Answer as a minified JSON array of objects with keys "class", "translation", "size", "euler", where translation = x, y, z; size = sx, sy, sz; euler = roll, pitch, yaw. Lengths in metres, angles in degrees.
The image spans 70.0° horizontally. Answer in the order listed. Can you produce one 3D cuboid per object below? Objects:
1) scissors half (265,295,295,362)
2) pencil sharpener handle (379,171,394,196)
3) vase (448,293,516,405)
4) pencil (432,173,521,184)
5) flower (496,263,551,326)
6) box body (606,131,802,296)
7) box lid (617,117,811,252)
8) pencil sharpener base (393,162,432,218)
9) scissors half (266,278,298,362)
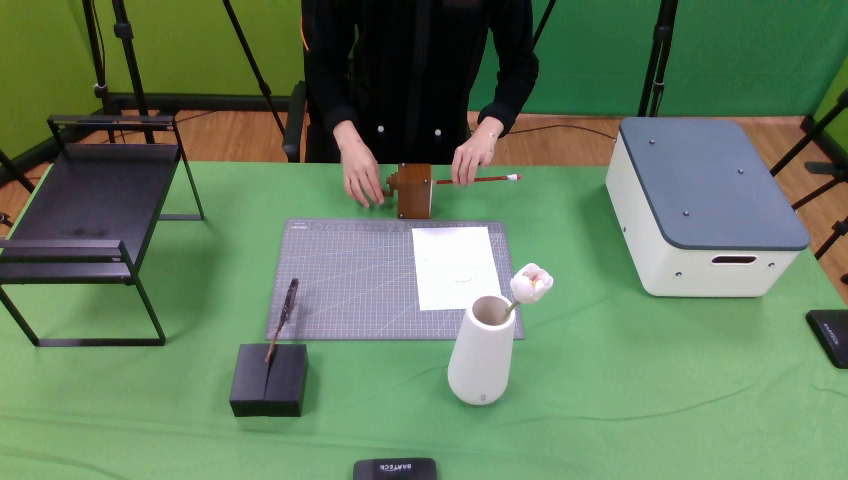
[{"class":"scissors half","translation":[-0.240,0.143,1.004],"size":[0.013,0.040,0.174],"euler":[18,27,-7]},{"class":"pencil sharpener handle","translation":[-0.075,-0.112,1.223],"size":[0.031,0.068,0.036],"euler":[1,57,-3]},{"class":"vase","translation":[0.091,0.169,0.921],"size":[0.098,0.201,0.097],"euler":[3,47,-3]},{"class":"pencil","translation":[0.102,-0.123,1.225],"size":[0.194,0.012,0.012],"euler":[-5,47,-6]},{"class":"flower","translation":[0.102,0.120,0.853],"size":[0.044,0.363,0.038],"euler":[-1,64,-10]},{"class":"box body","translation":[0.530,-0.067,1.204],"size":[0.254,0.161,0.361],"euler":[0,46,-4]},{"class":"box lid","translation":[0.534,-0.117,1.148],"size":[0.263,0.015,0.369],"euler":[0,47,-3]},{"class":"pencil sharpener base","translation":[-0.025,-0.100,1.233],"size":[0.077,0.107,0.061],"euler":[1,47,-3]},{"class":"scissors half","translation":[-0.234,0.127,0.993],"size":[0.013,0.040,0.174],"euler":[13,46,-4]}]
